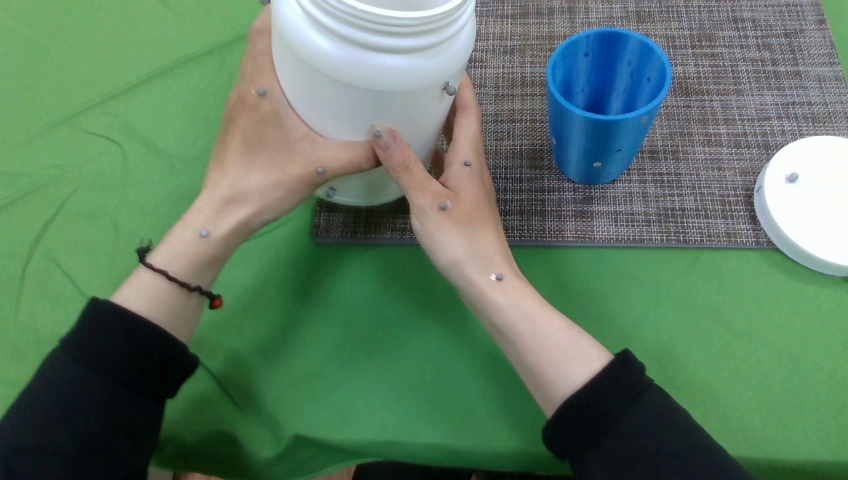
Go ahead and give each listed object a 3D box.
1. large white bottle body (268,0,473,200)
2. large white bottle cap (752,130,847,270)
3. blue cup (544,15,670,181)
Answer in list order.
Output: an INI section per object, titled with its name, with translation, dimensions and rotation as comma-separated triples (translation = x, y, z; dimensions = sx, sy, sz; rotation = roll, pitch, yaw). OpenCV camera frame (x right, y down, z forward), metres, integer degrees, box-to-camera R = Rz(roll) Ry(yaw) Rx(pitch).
[large white bottle body]
translation = -0.042, -0.126, 0.424
dimensions = 0.131, 0.185, 0.129
rotation = 7, 61, -11
[large white bottle cap]
translation = 0.313, -0.033, 0.461
dimensions = 0.115, 0.018, 0.114
rotation = -1, 66, 2
[blue cup]
translation = 0.132, -0.097, 0.463
dimensions = 0.092, 0.101, 0.092
rotation = -3, 61, 6
